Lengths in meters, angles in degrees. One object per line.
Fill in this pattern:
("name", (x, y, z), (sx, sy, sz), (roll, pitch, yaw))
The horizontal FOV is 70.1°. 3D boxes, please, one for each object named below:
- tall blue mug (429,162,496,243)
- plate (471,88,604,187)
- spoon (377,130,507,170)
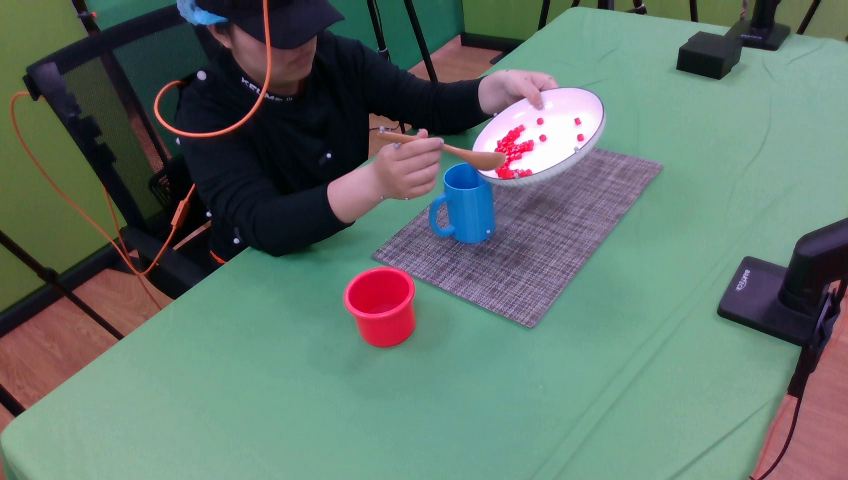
("tall blue mug", (0.067, -0.050, 0.960), (0.077, 0.108, 0.107), (17, 47, 27))
("plate", (0.171, -0.150, 0.915), (0.207, 0.039, 0.206), (-21, 39, 18))
("spoon", (0.027, -0.124, 0.821), (0.195, 0.041, 0.021), (11, 56, -20))
